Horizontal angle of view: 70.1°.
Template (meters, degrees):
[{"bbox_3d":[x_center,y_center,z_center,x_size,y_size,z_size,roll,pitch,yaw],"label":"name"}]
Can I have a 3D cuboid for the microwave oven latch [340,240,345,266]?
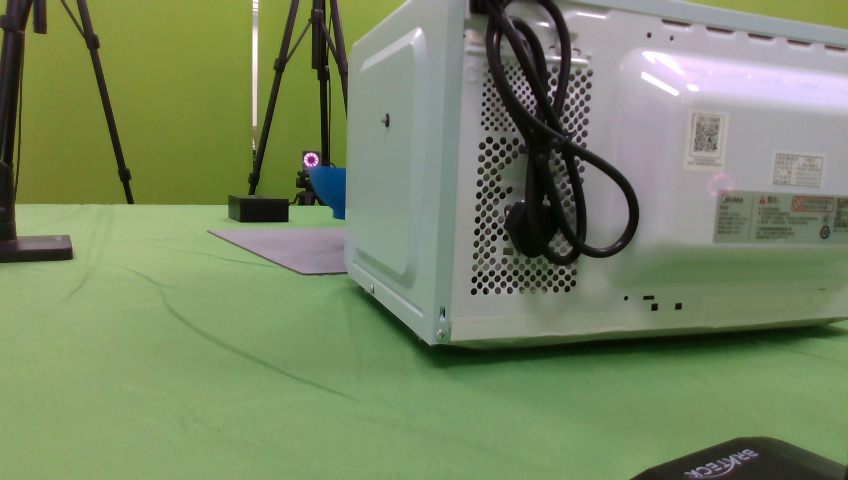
[{"bbox_3d":[-0.052,0.016,0.662,0.079,0.029,0.030,1,7,-19],"label":"microwave oven latch"}]

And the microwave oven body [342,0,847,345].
[{"bbox_3d":[0.169,-0.060,0.573,0.444,0.260,0.324,1,7,-20],"label":"microwave oven body"}]

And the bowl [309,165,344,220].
[{"bbox_3d":[-0.099,-0.069,0.909,0.151,0.077,0.151,4,6,0],"label":"bowl"}]

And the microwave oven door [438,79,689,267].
[{"bbox_3d":[0.183,-0.102,0.874,0.354,0.243,0.039,7,9,33],"label":"microwave oven door"}]
